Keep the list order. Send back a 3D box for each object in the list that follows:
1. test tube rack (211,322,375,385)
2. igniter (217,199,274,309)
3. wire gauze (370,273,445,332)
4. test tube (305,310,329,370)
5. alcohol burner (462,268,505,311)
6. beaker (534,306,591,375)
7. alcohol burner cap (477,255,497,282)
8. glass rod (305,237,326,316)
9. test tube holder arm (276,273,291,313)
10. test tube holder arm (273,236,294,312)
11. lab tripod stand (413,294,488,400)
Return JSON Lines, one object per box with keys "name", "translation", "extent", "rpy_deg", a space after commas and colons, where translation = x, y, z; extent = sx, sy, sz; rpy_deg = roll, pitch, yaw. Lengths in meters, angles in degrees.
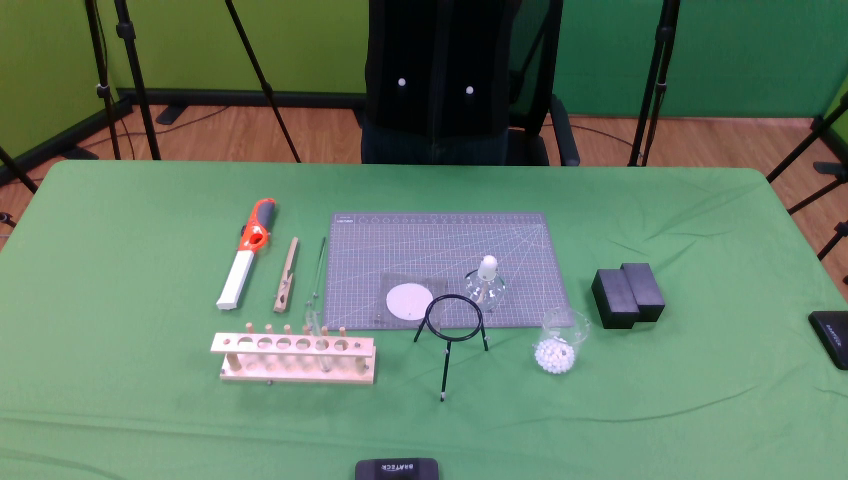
{"name": "test tube rack", "translation": [-0.202, 0.176, 0.969], "extent": [0.242, 0.085, 0.066], "rpy_deg": [3, 46, -2]}
{"name": "igniter", "translation": [-0.336, 0.017, 1.153], "extent": [0.057, 0.025, 0.275], "rpy_deg": [-2, 45, 8]}
{"name": "wire gauze", "translation": [-0.028, 0.108, 1.100], "extent": [0.125, 0.011, 0.121], "rpy_deg": [7, 45, 4]}
{"name": "test tube", "translation": [-0.162, 0.156, 0.924], "extent": [0.017, 0.151, 0.017], "rpy_deg": [-1, 48, 1]}
{"name": "alcohol burner", "translation": [0.108, 0.071, 1.072], "extent": [0.078, 0.119, 0.077], "rpy_deg": [4, 45, -4]}
{"name": "beaker", "translation": [0.226, 0.168, 1.002], "extent": [0.084, 0.101, 0.073], "rpy_deg": [-5, 47, -10]}
{"name": "alcohol burner cap", "translation": [0.110, 0.047, 1.046], "extent": [0.034, 0.048, 0.033], "rpy_deg": [2, 52, -2]}
{"name": "glass rod", "translation": [-0.202, 0.063, 1.131], "extent": [0.008, 0.008, 0.198], "rpy_deg": [3, 44, 0]}
{"name": "test tube holder arm", "translation": [-0.254, 0.093, 1.094], "extent": [0.010, 0.015, 0.087], "rpy_deg": [29, 38, -26]}
{"name": "test tube holder arm", "translation": [-0.259, 0.059, 1.123], "extent": [0.013, 0.015, 0.177], "rpy_deg": [28, 39, -27]}
{"name": "lab tripod stand", "translation": [0.044, 0.159, 0.972], "extent": [0.148, 0.132, 0.147], "rpy_deg": [3, 44, -2]}
